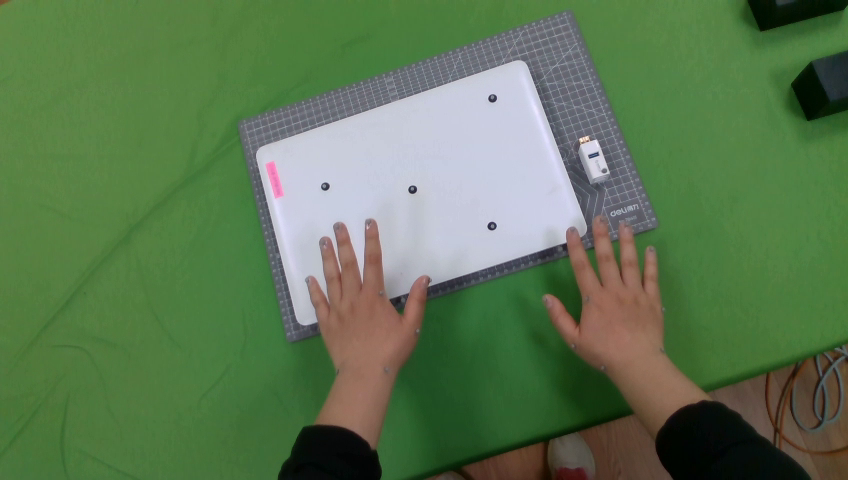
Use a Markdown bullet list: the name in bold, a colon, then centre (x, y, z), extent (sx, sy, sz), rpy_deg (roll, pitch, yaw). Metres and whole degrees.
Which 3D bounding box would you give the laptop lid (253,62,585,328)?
- **laptop lid**: centre (-0.015, -0.057, 0.717), extent (0.357, 0.013, 0.240), rpy_deg (-17, 77, 3)

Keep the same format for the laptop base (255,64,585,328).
- **laptop base**: centre (-0.014, -0.056, 0.728), extent (0.354, 0.023, 0.234), rpy_deg (-18, 78, 3)

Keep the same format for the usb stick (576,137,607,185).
- **usb stick**: centre (0.192, -0.096, 0.703), extent (0.021, 0.027, 0.059), rpy_deg (-19, 71, 7)
